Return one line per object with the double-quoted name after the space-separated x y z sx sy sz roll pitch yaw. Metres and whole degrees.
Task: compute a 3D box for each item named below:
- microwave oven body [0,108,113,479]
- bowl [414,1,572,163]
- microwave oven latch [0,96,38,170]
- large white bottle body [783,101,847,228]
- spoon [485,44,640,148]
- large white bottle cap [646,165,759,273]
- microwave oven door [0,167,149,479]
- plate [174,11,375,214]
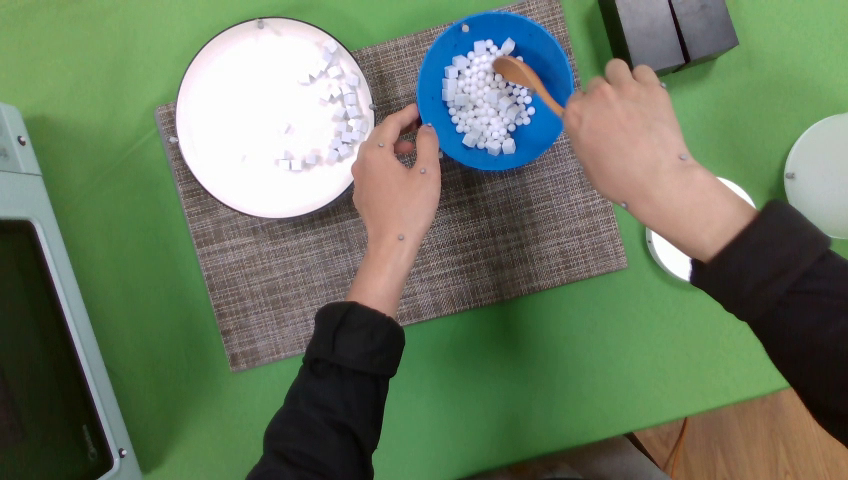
-0.527 0.107 0.552 0.326 0.260 0.442 -18 93 2 "microwave oven body"
0.067 -0.150 0.610 0.151 0.077 0.151 0 93 2 "bowl"
-0.436 -0.110 0.633 0.030 0.029 0.079 -17 93 2 "microwave oven latch"
0.440 -0.075 0.554 0.130 0.184 0.130 0 92 2 "large white bottle body"
0.120 -0.131 0.550 0.021 0.042 0.191 -41 55 2 "spoon"
0.296 -0.022 0.645 0.115 0.018 0.115 0 93 1 "large white bottle cap"
-0.375 0.103 0.542 0.039 0.243 0.356 -18 92 3 "microwave oven door"
-0.153 -0.130 0.638 0.209 0.038 0.209 0 93 2 "plate"
